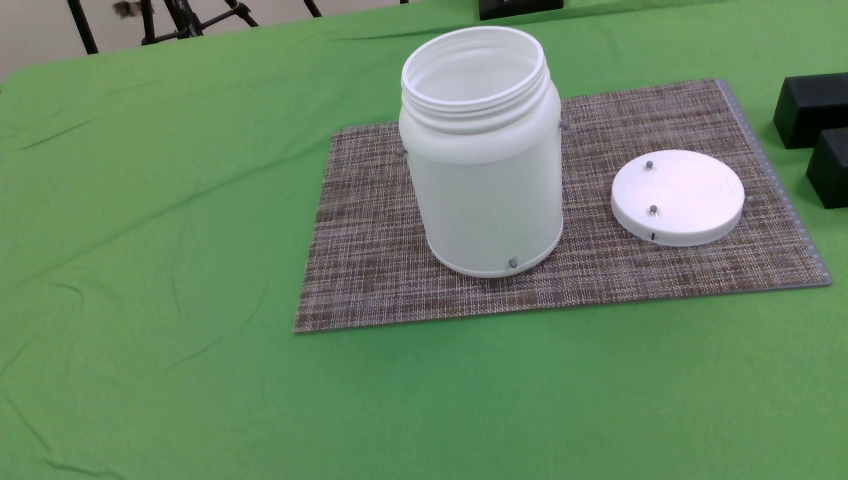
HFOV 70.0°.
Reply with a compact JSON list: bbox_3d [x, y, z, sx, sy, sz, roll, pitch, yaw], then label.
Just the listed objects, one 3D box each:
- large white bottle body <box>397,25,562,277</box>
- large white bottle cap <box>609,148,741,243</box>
[{"bbox_3d":[0.050,-0.072,0.519,0.130,0.186,0.129,-7,46,8],"label":"large white bottle body"},{"bbox_3d":[0.233,-0.044,0.566,0.115,0.018,0.113,-7,46,8],"label":"large white bottle cap"}]
